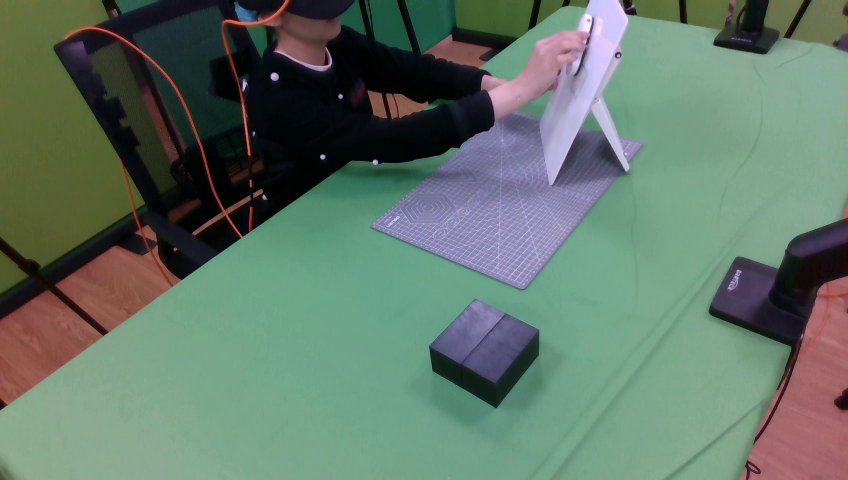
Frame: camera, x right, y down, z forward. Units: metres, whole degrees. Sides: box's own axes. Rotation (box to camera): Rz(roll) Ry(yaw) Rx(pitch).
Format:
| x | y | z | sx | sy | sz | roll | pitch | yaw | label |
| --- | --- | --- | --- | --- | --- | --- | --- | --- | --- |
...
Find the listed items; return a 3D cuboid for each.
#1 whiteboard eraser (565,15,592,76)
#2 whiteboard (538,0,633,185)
| x | y | z | sx | sy | sz | roll | pitch | yaw | label |
| --- | --- | --- | --- | --- | --- | --- | --- | --- | --- |
| 0.266 | -0.335 | 1.046 | 0.019 | 0.101 | 0.041 | 11 | 16 | -7 | whiteboard eraser |
| 0.327 | -0.259 | 1.054 | 0.144 | 0.306 | 0.216 | 12 | 40 | -6 | whiteboard |
